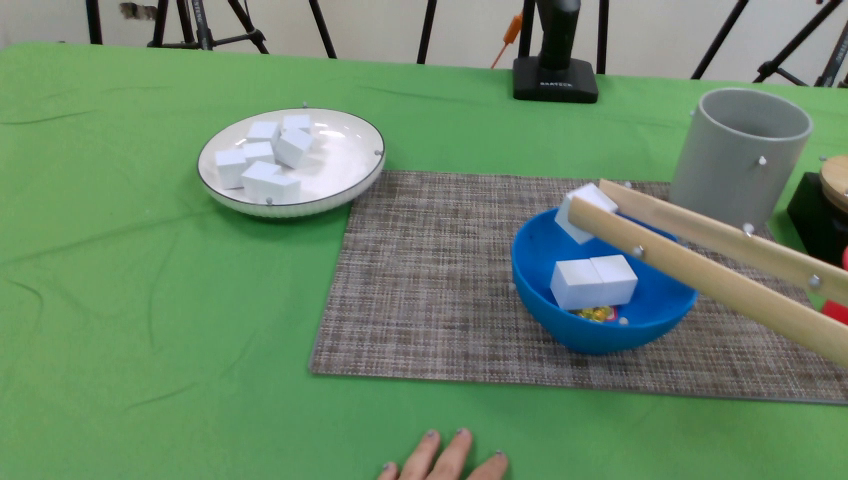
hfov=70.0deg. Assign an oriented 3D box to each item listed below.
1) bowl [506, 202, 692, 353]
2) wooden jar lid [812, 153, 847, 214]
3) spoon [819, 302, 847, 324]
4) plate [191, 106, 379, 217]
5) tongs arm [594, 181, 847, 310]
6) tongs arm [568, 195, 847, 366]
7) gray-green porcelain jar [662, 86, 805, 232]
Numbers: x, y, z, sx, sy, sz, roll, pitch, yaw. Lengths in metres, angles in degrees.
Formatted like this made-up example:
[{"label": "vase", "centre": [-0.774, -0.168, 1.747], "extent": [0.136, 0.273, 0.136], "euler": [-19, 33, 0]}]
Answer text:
[{"label": "bowl", "centre": [0.141, 0.043, 0.517], "extent": [0.151, 0.077, 0.150], "euler": [1, 41, -1]}, {"label": "wooden jar lid", "centre": [0.449, -0.052, 0.612], "extent": [0.108, 0.021, 0.107], "euler": [0, 40, 0]}, {"label": "spoon", "centre": [0.429, 0.039, 0.487], "extent": [0.022, 0.193, 0.041], "euler": [47, 42, -18]}, {"label": "plate", "centre": [-0.154, -0.089, 0.693], "extent": [0.209, 0.038, 0.207], "euler": [0, 41, 0]}, {"label": "tongs arm", "centre": [0.263, 0.044, 0.372], "extent": [0.381, 0.027, 0.051], "euler": [28, 43, 35]}, {"label": "tongs arm", "centre": [0.245, 0.053, 0.359], "extent": [0.028, 0.028, 0.383], "euler": [-24, 41, -36]}, {"label": "gray-green porcelain jar", "centre": [0.311, -0.078, 0.626], "extent": [0.106, 0.127, 0.105], "euler": [1, 41, 0]}]
